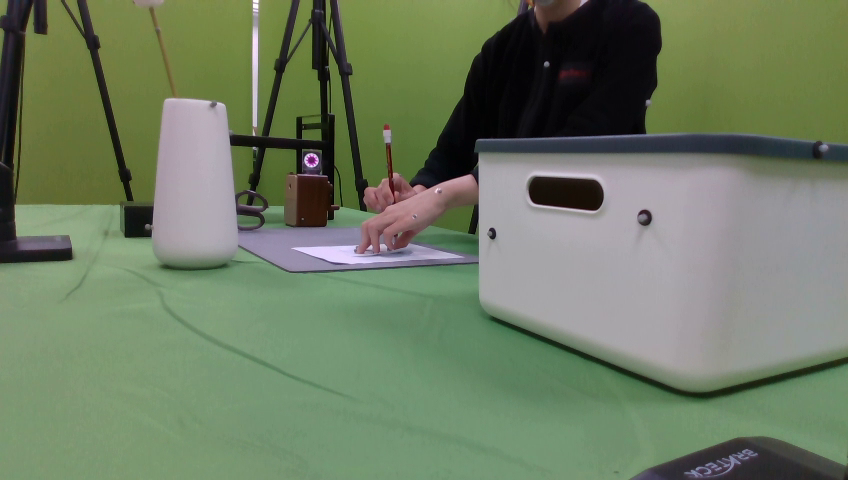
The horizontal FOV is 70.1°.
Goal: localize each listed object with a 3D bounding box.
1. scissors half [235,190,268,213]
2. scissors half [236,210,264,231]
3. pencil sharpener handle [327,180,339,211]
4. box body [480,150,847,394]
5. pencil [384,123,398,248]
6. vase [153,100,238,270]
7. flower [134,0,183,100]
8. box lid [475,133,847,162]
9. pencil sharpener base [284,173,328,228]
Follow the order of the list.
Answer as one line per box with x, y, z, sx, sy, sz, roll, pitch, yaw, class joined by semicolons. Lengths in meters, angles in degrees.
-0.363;-0.070;1.060;0.176;0.040;0.013;0;16;-23;scissors half
-0.369;-0.051;1.065;0.176;0.040;0.012;19;13;-27;scissors half
-0.194;-0.095;1.256;0.031;0.067;0.036;-2;-6;-36;pencil sharpener handle
0.254;0.002;0.539;0.366;0.160;0.253;-2;8;-31;box body
-0.050;-0.084;0.943;0.012;0.194;0.012;-4;4;1;pencil
-0.278;-0.066;0.736;0.098;0.200;0.098;2;9;0;vase
-0.282;-0.147;0.713;0.038;0.362;0.044;-23;24;-31;flower
0.256;-0.073;0.528;0.373;0.015;0.262;-2;8;-31;box lid
-0.239;-0.081;1.231;0.077;0.107;0.061;-2;8;-36;pencil sharpener base
